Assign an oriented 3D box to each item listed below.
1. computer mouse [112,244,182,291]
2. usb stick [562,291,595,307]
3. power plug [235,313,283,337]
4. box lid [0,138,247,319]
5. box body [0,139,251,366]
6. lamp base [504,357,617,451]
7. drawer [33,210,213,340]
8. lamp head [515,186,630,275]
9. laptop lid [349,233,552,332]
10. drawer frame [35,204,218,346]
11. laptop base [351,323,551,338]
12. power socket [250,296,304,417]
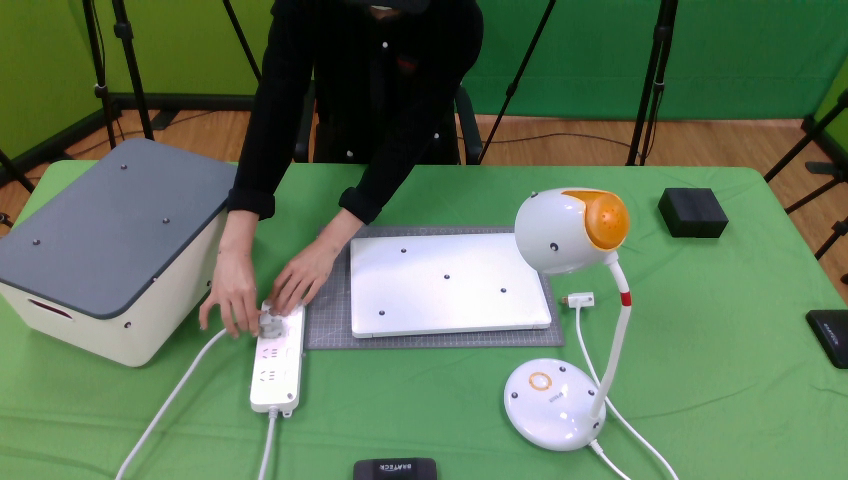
[{"bbox_3d":[-0.492,0.046,1.078,0.117,0.041,0.062,24,41,13],"label":"computer mouse"},{"bbox_3d":[0.280,0.109,1.105,0.059,0.021,0.027,-6,13,23],"label":"usb stick"},{"bbox_3d":[-0.269,0.139,0.997,0.072,0.053,0.035,12,43,-2],"label":"power plug"},{"bbox_3d":[-0.494,-0.037,0.994,0.263,0.015,0.370,17,46,12],"label":"box lid"},{"bbox_3d":[-0.496,0.013,1.048,0.254,0.161,0.362,17,47,12],"label":"box body"},{"bbox_3d":[0.220,0.211,0.902,0.160,0.181,0.178,-32,59,-30],"label":"lamp base"},{"bbox_3d":[-0.509,0.054,1.046,0.194,0.073,0.211,15,43,11],"label":"drawer"},{"bbox_3d":[0.188,-0.013,0.728,0.112,0.112,0.122,-25,9,-25],"label":"lamp head"},{"bbox_3d":[0.040,0.070,1.119,0.357,0.013,0.240,-1,44,-5],"label":"laptop lid"},{"bbox_3d":[-0.505,0.054,1.052,0.201,0.083,0.212,14,52,12],"label":"drawer frame"},{"bbox_3d":[0.040,0.080,1.125,0.355,0.023,0.234,-2,43,-6],"label":"laptop base"},{"bbox_3d":[-0.239,0.182,0.997,0.072,0.033,0.225,-2,47,-4],"label":"power socket"}]
